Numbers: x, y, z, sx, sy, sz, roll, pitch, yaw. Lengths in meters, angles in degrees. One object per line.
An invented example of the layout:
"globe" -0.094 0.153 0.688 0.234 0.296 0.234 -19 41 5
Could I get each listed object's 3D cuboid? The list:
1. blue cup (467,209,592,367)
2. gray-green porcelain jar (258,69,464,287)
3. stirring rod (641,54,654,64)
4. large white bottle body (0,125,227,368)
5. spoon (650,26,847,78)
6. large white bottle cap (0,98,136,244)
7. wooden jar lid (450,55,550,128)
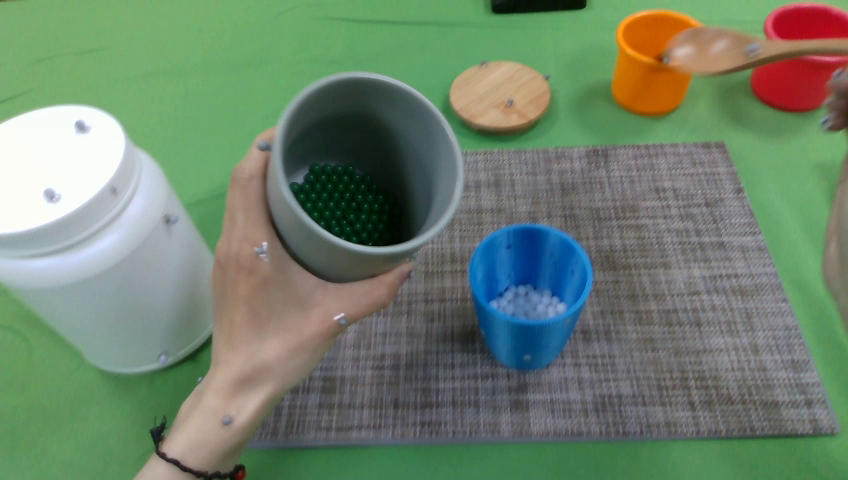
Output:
"blue cup" 0.076 0.047 0.453 0.092 0.101 0.091 -3 53 4
"gray-green porcelain jar" -0.047 -0.029 0.380 0.106 0.126 0.105 5 74 -19
"stirring rod" 0.231 -0.182 0.593 0.014 0.006 0.176 4 12 11
"large white bottle body" -0.241 0.002 0.459 0.130 0.186 0.129 -2 54 3
"spoon" 0.209 -0.098 0.321 0.041 0.022 0.192 -51 37 -12
"large white bottle cap" -0.247 -0.048 0.390 0.115 0.018 0.113 -2 54 3
"wooden jar lid" 0.082 -0.160 0.659 0.108 0.021 0.107 -1 53 2
